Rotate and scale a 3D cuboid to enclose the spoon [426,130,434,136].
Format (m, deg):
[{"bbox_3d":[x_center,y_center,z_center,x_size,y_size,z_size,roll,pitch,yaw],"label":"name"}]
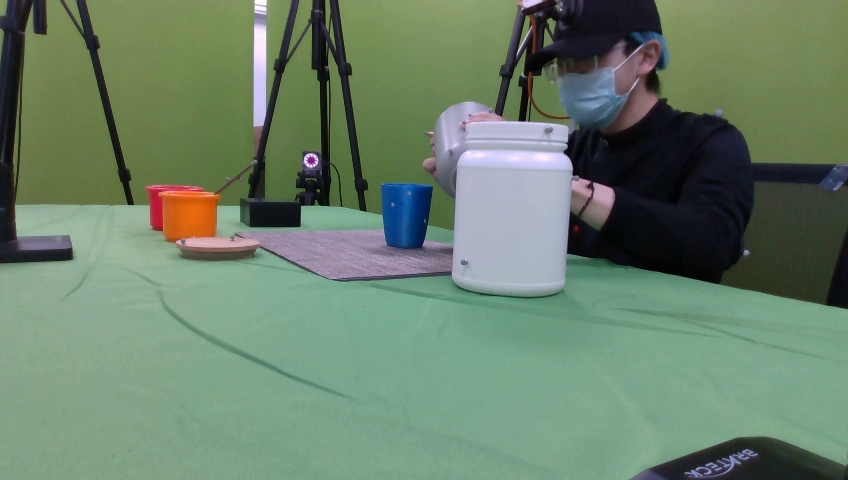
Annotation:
[{"bbox_3d":[0.051,-0.158,0.951,0.042,0.021,0.193,-1,20,-27],"label":"spoon"}]

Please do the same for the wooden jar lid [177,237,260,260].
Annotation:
[{"bbox_3d":[-0.283,0.011,0.834,0.108,0.020,0.108,1,7,0],"label":"wooden jar lid"}]

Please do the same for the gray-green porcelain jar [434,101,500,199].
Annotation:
[{"bbox_3d":[0.068,-0.126,0.885,0.106,0.106,0.126,2,44,-4],"label":"gray-green porcelain jar"}]

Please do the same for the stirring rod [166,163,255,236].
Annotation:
[{"bbox_3d":[-0.341,-0.066,0.967,0.176,0.006,0.014,-42,23,-9],"label":"stirring rod"}]

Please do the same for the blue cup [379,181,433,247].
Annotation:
[{"bbox_3d":[-0.030,-0.042,0.979,0.093,0.100,0.092,2,9,0],"label":"blue cup"}]

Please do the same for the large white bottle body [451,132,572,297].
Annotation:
[{"bbox_3d":[0.099,-0.037,0.688,0.131,0.184,0.130,2,7,0],"label":"large white bottle body"}]

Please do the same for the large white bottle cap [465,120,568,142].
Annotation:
[{"bbox_3d":[0.103,-0.121,0.677,0.115,0.018,0.115,3,7,0],"label":"large white bottle cap"}]
